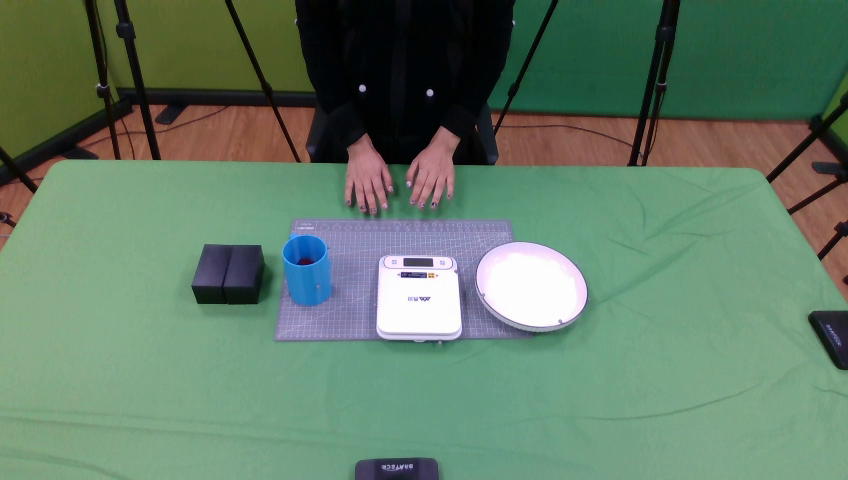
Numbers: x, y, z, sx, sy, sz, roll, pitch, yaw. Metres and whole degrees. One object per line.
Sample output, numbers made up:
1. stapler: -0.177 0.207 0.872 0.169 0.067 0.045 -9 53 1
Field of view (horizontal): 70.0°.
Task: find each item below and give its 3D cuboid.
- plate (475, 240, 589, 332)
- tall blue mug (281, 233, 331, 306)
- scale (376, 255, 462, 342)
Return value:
1. plate: 0.195 0.087 1.112 0.209 0.038 0.208 3 46 -3
2. tall blue mug: -0.219 0.046 1.073 0.107 0.108 0.077 28 52 21
3. scale: -0.010 0.096 1.094 0.149 0.032 0.199 2 46 -3
